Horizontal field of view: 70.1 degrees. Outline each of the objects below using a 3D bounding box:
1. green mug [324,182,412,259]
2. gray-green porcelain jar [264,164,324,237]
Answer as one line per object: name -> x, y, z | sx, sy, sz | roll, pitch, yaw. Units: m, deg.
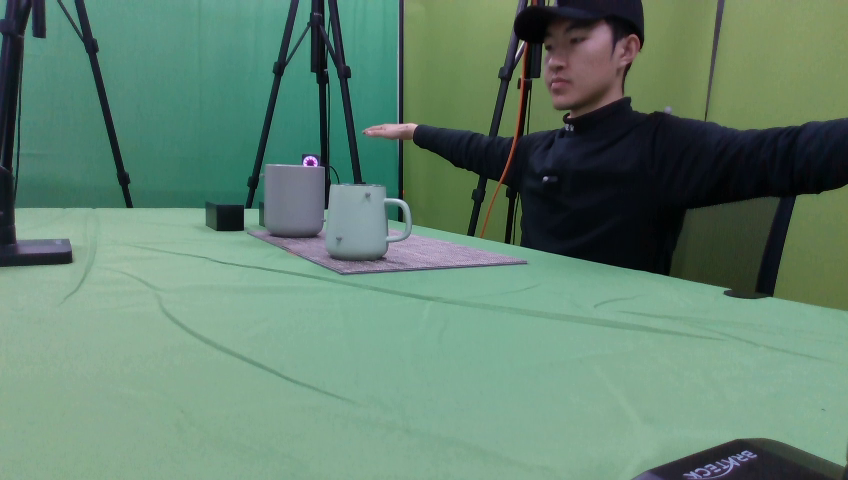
green mug -> -0.079, -0.028, 0.864 | 0.125, 0.105, 0.092 | 3, 7, 9
gray-green porcelain jar -> -0.233, -0.072, 1.088 | 0.106, 0.126, 0.106 | 2, 7, 0
